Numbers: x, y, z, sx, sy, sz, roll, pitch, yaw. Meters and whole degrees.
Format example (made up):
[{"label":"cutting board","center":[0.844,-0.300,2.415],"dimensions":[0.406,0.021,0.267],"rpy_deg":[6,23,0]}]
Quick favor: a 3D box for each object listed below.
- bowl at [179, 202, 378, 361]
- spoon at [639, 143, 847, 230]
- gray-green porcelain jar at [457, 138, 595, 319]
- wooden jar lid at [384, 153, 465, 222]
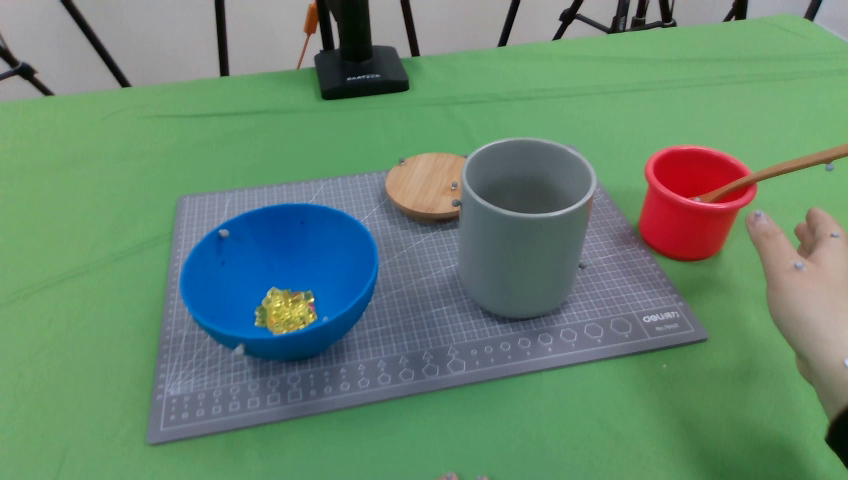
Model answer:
[{"label":"bowl","center":[-0.110,0.046,0.493],"dimensions":[0.151,0.077,0.150],"rpy_deg":[0,43,1]},{"label":"spoon","center":[0.287,-0.048,0.547],"dimensions":[0.193,0.022,0.041],"rpy_deg":[-27,22,42]},{"label":"gray-green porcelain jar","center":[0.080,-0.005,0.510],"dimensions":[0.106,0.127,0.105],"rpy_deg":[0,43,1]},{"label":"wooden jar lid","center":[0.012,-0.055,0.645],"dimensions":[0.108,0.021,0.107],"rpy_deg":[-1,41,1]}]
